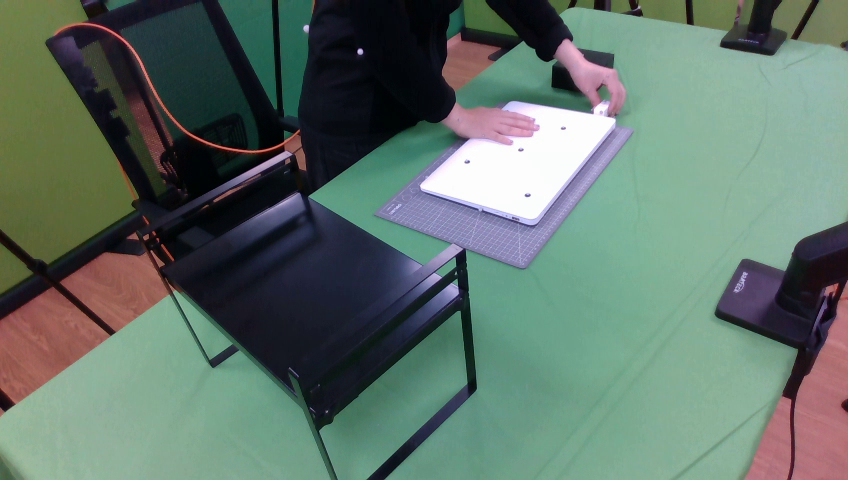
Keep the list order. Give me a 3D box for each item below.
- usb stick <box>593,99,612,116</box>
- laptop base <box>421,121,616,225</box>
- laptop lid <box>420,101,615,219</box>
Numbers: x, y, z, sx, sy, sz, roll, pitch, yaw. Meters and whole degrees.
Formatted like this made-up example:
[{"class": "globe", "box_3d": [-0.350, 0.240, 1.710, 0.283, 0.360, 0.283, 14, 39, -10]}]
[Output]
[{"class": "usb stick", "box_3d": [0.353, -0.256, 1.206, 0.021, 0.027, 0.059, 23, 49, 26]}, {"class": "laptop base", "box_3d": [0.184, -0.156, 1.132, 0.234, 0.023, 0.355, 18, 47, 31]}, {"class": "laptop lid", "box_3d": [0.181, -0.166, 1.126, 0.240, 0.013, 0.357, 20, 47, 31]}]
